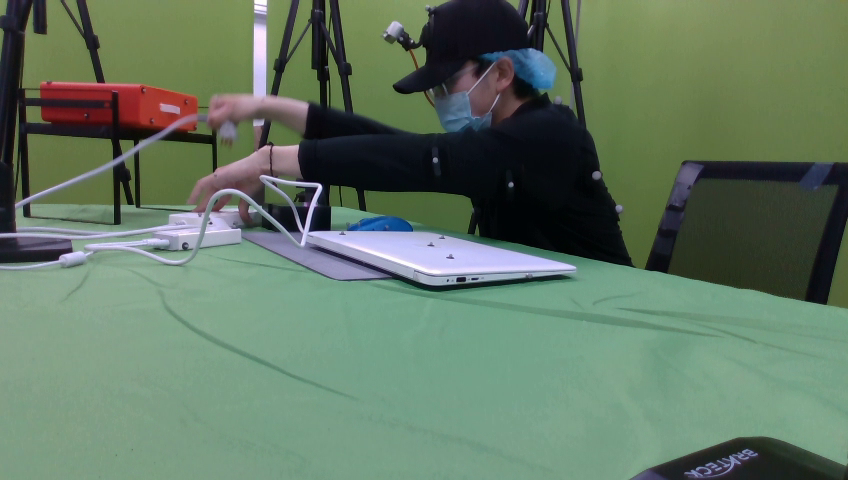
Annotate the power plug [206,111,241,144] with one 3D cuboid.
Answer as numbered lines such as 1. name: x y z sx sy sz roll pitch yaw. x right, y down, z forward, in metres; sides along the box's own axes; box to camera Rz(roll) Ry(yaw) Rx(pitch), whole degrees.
1. power plug: -0.394 -0.222 1.191 0.072 0.052 0.035 23 21 22

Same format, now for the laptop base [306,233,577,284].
1. laptop base: 0.007 0.022 0.850 0.237 0.023 0.352 1 7 -34

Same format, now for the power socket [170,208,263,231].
1. power socket: -0.381 -0.038 1.129 0.072 0.032 0.227 4 8 15

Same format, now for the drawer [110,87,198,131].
1. drawer: -0.601 -0.263 1.225 0.211 0.073 0.195 3 8 10

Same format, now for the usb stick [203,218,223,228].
1. usb stick: -0.346 -0.019 1.009 0.027 0.021 0.059 45 -7 0

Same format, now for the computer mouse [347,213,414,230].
1. computer mouse: -0.079 -0.025 1.080 0.117 0.041 0.062 -5 12 -18

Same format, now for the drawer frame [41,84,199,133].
1. drawer frame: -0.604 -0.264 1.225 0.213 0.082 0.202 3 8 8

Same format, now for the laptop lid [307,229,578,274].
1. laptop lid: 0.009 0.010 0.850 0.243 0.013 0.355 0 8 -32

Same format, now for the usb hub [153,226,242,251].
1. usb hub: -0.337 -0.003 0.907 0.049 0.025 0.125 6 9 28
